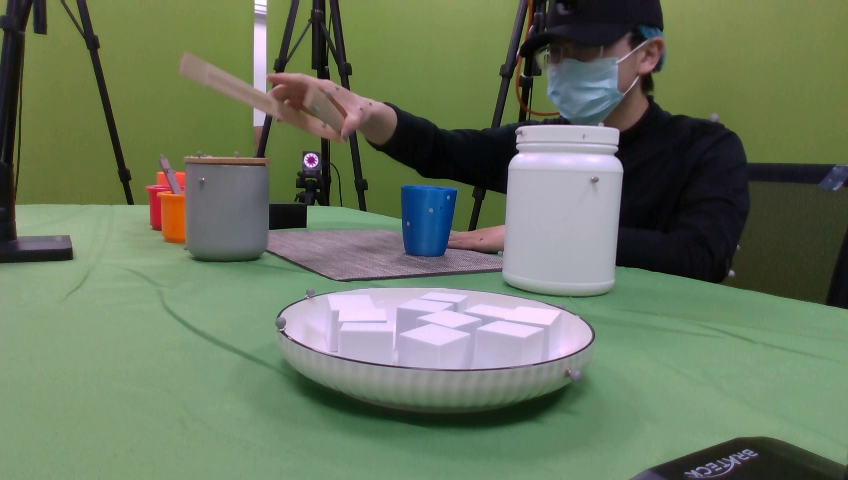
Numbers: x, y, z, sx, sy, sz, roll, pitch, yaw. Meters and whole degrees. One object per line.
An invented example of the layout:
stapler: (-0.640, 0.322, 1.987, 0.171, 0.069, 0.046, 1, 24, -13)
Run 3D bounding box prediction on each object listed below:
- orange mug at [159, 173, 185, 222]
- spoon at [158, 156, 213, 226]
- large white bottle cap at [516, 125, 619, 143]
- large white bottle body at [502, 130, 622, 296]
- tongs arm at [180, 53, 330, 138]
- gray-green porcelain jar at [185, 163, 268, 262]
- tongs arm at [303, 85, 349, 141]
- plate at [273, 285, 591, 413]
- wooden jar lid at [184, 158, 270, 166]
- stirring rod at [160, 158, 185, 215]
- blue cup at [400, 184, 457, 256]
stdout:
orange mug: (-0.477, -0.089, 1.241, 0.127, 0.101, 0.083, -7, 11, -33)
spoon: (-0.435, -0.094, 1.121, 0.041, 0.022, 0.193, 5, 51, 14)
large white bottle cap: (0.164, -0.120, 0.695, 0.115, 0.018, 0.115, 2, 8, 0)
large white bottle body: (0.160, -0.036, 0.706, 0.131, 0.184, 0.130, 2, 7, 0)
tongs arm: (-0.209, -0.183, 0.817, 0.028, 0.028, 0.388, 10, 3, 12)
gray-green porcelain jar: (-0.263, -0.038, 0.808, 0.106, 0.126, 0.106, 3, 8, 0)
tongs arm: (-0.137, -0.164, 0.813, 0.051, 0.026, 0.384, 13, 4, 0)
plate: (0.005, 0.069, 0.407, 0.208, 0.039, 0.207, 2, 7, 0)
wooden jar lid: (-0.260, -0.099, 0.801, 0.108, 0.020, 0.108, 0, 9, 0)
stirring rod: (-0.391, -0.070, 0.972, 0.014, 0.006, 0.175, -3, 50, -48)
blue cup: (0.003, -0.030, 0.901, 0.093, 0.100, 0.092, 4, 9, 0)
